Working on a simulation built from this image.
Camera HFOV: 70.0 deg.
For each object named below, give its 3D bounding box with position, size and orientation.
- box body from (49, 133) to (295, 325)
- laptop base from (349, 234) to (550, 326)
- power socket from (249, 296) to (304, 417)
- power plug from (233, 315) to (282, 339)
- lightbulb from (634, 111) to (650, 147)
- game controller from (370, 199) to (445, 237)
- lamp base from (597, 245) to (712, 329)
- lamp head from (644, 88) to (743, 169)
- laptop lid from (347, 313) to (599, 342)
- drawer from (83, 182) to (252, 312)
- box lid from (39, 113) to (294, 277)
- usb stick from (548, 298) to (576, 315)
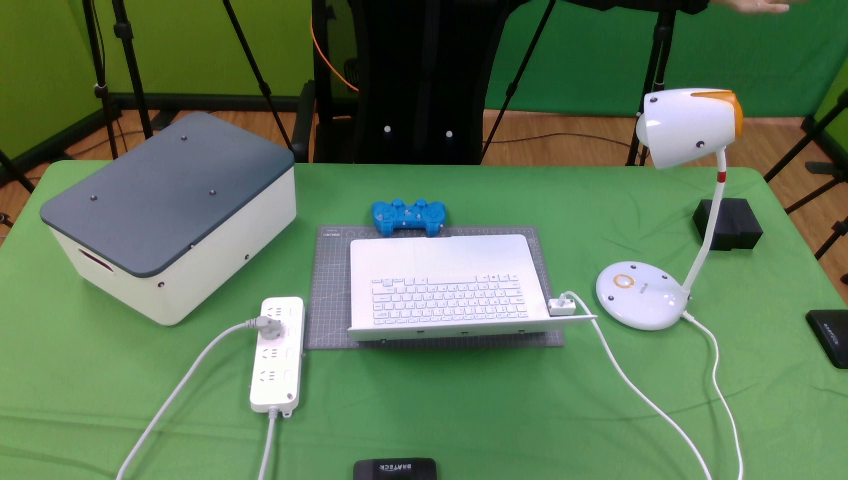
[{"bbox_3d":[-0.437,-0.046,1.110,0.253,0.161,0.363,24,49,19],"label":"box body"},{"bbox_3d":[0.040,0.081,1.125,0.355,0.023,0.234,-2,43,-6],"label":"laptop base"},{"bbox_3d":[-0.239,0.182,0.996,0.072,0.033,0.225,-2,47,-5],"label":"power socket"},{"bbox_3d":[-0.271,0.144,1.000,0.072,0.053,0.035,6,46,3],"label":"power plug"},{"bbox_3d":[0.348,-0.163,0.852,0.059,0.060,0.107,-36,19,-32],"label":"lightbulb"},{"bbox_3d":[-0.032,-0.054,1.229,0.155,0.052,0.096,0,48,-4],"label":"game controller"},{"bbox_3d":[0.418,0.051,1.072,0.179,0.181,0.160,22,49,13],"label":"lamp base"},{"bbox_3d":[0.380,-0.161,0.851,0.122,0.113,0.112,-4,42,25],"label":"lamp head"},{"bbox_3d":[0.062,0.137,0.932,0.357,0.242,0.013,-2,77,-8],"label":"laptop lid"},{"bbox_3d":[-0.458,0.007,1.099,0.194,0.073,0.211,30,49,20],"label":"drawer"},{"bbox_3d":[-0.435,-0.096,1.056,0.262,0.015,0.370,25,48,18],"label":"box lid"},{"bbox_3d":[0.240,0.119,1.086,0.059,0.027,0.021,-2,52,-2],"label":"usb stick"}]
